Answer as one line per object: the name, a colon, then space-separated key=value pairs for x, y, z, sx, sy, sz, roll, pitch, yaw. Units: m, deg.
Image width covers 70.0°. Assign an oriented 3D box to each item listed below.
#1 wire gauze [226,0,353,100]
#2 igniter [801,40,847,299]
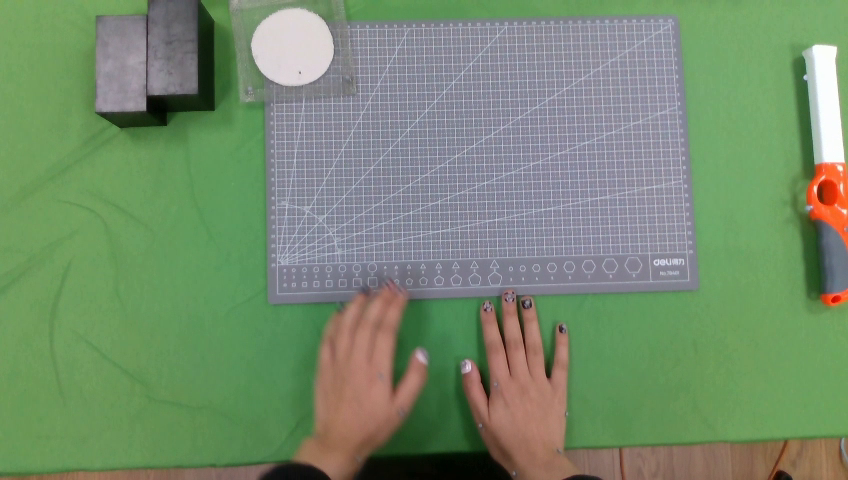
wire gauze: x=-0.144 y=-0.212 z=0.644 sx=0.125 sy=0.011 sz=0.121 roll=-7 pitch=84 yaw=-2
igniter: x=0.428 y=-0.076 z=0.644 sx=0.057 sy=0.025 sz=0.276 roll=0 pitch=85 yaw=-13
